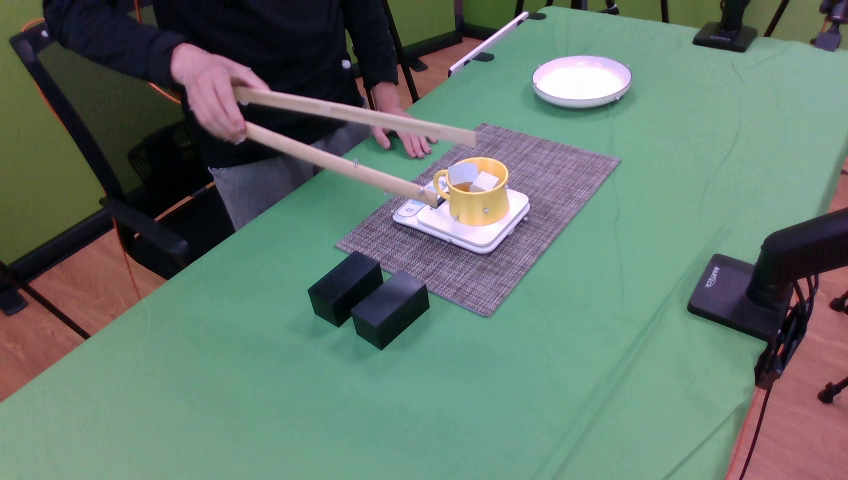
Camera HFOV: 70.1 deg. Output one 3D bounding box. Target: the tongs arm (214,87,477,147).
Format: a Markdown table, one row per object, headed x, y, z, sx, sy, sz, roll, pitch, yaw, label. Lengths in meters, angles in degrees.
| x | y | z | sx | sy | sz | roll | pitch | yaw | label |
| --- | --- | --- | --- | --- | --- | --- | --- | --- | --- |
| -0.114 | -0.171 | 0.844 | 0.386 | 0.028 | 0.028 | 12 | 54 | 12 | tongs arm |

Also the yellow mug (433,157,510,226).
| x | y | z | sx | sy | sz | roll | pitch | yaw | label |
| --- | --- | --- | --- | --- | --- | --- | --- | --- | --- |
| 0.072 | -0.082 | 0.969 | 0.130 | 0.064 | 0.100 | 13 | 46 | 24 | yellow mug |

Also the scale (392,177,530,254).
| x | y | z | sx | sy | sz | roll | pitch | yaw | label |
| --- | --- | --- | --- | --- | --- | --- | --- | --- | --- |
| 0.060 | -0.050 | 1.006 | 0.199 | 0.032 | 0.149 | 22 | 48 | 30 | scale |

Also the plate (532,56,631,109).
| x | y | z | sx | sy | sz | roll | pitch | yaw | label |
| --- | --- | --- | --- | --- | --- | --- | --- | --- | --- |
| 0.336 | -0.335 | 1.301 | 0.207 | 0.039 | 0.206 | -4 | 41 | 4 | plate |

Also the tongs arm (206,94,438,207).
| x | y | z | sx | sy | sz | roll | pitch | yaw | label |
| --- | --- | --- | --- | --- | --- | --- | --- | --- | --- |
| -0.144 | -0.124 | 0.801 | 0.383 | 0.026 | 0.051 | 20 | 53 | 19 | tongs arm |
